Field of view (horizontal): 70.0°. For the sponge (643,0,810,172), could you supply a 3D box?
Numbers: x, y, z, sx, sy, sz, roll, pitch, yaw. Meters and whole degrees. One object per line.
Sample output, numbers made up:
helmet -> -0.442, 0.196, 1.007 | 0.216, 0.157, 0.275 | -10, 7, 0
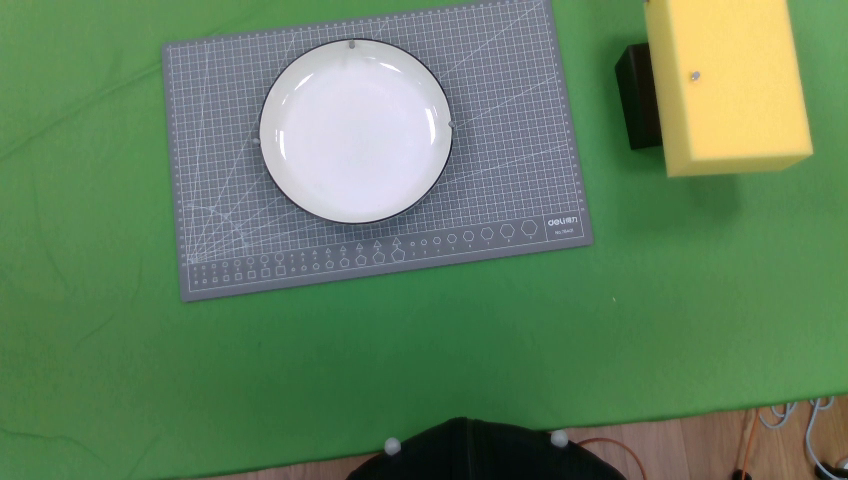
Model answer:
sponge -> 0.299, -0.177, 0.610 | 0.118, 0.061, 0.206 | -5, 82, -1

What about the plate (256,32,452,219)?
plate -> -0.073, -0.121, 0.660 | 0.209, 0.038, 0.208 | 0, 81, 0
